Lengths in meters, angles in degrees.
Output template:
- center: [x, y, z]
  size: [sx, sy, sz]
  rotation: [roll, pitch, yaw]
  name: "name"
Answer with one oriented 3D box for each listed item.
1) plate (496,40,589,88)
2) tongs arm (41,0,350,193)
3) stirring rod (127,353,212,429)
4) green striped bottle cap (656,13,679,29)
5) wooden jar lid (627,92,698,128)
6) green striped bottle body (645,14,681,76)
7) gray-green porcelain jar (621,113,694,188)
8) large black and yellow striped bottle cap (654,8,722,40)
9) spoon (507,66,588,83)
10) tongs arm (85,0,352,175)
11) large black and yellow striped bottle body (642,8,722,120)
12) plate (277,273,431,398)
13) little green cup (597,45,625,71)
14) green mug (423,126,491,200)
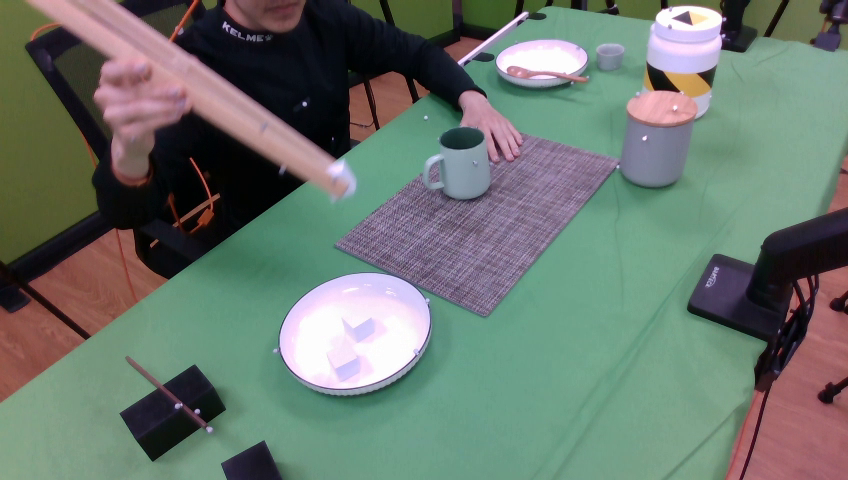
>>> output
- center: [0.269, -0.397, 1.381]
  size: [0.209, 0.038, 0.208]
  rotation: [-4, 41, 4]
  name: "plate"
- center: [-0.245, -0.171, 0.660]
  size: [0.026, 0.387, 0.050]
  rotation: [-45, 28, 26]
  name: "tongs arm"
- center: [-0.311, 0.180, 0.731]
  size: [0.175, 0.014, 0.006]
  rotation: [25, 53, 31]
  name: "stirring rod"
- center: [0.515, -0.463, 1.278]
  size: [0.044, 0.020, 0.044]
  rotation: [-6, 42, 6]
  name: "green striped bottle cap"
- center: [0.384, -0.207, 0.980]
  size: [0.108, 0.021, 0.108]
  rotation: [-6, 39, 5]
  name: "wooden jar lid"
- center: [0.520, -0.424, 1.312]
  size: [0.063, 0.120, 0.063]
  rotation: [-4, 41, 4]
  name: "green striped bottle body"
- center: [0.390, -0.161, 1.020]
  size: [0.106, 0.127, 0.105]
  rotation: [-4, 41, 4]
  name: "gray-green porcelain jar"
- center: [0.483, -0.397, 1.108]
  size: [0.115, 0.019, 0.114]
  rotation: [-3, 41, 3]
  name: "large black and yellow striped bottle cap"
- center: [0.265, -0.357, 1.311]
  size: [0.192, 0.022, 0.042]
  rotation: [18, 47, 38]
  name: "spoon"
- center: [-0.245, -0.183, 0.679]
  size: [0.390, 0.027, 0.028]
  rotation: [34, 32, -21]
  name: "tongs arm"
- center: [0.493, -0.334, 1.161]
  size: [0.131, 0.185, 0.130]
  rotation: [-4, 41, 4]
  name: "large black and yellow striped bottle body"
- center: [-0.091, 0.129, 0.821]
  size: [0.207, 0.039, 0.206]
  rotation: [-4, 40, 4]
  name: "plate"
- center: [0.422, -0.413, 1.375]
  size: [0.061, 0.039, 0.061]
  rotation: [-3, 41, 3]
  name: "little green cup"
- center: [0.055, -0.126, 1.039]
  size: [0.126, 0.105, 0.091]
  rotation: [-25, 44, -19]
  name: "green mug"
